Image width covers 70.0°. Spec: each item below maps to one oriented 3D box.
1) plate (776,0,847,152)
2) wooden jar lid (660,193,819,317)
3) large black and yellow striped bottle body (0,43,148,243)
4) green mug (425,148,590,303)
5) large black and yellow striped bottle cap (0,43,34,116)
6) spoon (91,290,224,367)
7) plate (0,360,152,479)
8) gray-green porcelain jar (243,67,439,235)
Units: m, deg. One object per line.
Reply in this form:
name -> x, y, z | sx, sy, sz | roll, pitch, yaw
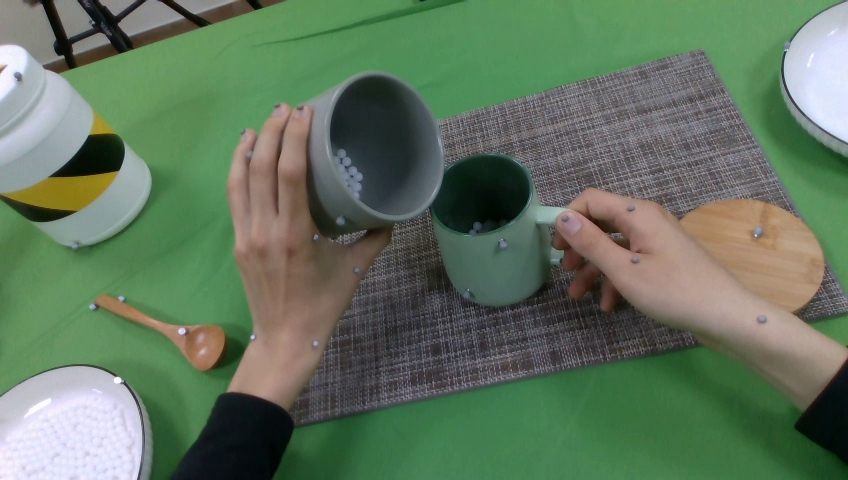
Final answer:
plate -> 0.407, -0.137, 0.504 | 0.207, 0.039, 0.205 | -8, 56, 12
wooden jar lid -> 0.237, 0.012, 0.462 | 0.108, 0.021, 0.107 | -9, 56, 13
large black and yellow striped bottle body -> -0.398, -0.095, 0.629 | 0.130, 0.186, 0.129 | -8, 56, 12
green mug -> 0.066, -0.008, 0.475 | 0.125, 0.106, 0.092 | 6, 59, 20
large black and yellow striped bottle cap -> -0.419, -0.139, 0.561 | 0.115, 0.019, 0.114 | -8, 54, 12
spoon -> -0.257, 0.075, 0.574 | 0.192, 0.022, 0.041 | 16, 81, 25
plate -> -0.315, 0.202, 0.498 | 0.209, 0.038, 0.207 | -8, 55, 12
gray-green porcelain jar -> -0.068, -0.060, 0.459 | 0.126, 0.107, 0.105 | -10, 49, 47
